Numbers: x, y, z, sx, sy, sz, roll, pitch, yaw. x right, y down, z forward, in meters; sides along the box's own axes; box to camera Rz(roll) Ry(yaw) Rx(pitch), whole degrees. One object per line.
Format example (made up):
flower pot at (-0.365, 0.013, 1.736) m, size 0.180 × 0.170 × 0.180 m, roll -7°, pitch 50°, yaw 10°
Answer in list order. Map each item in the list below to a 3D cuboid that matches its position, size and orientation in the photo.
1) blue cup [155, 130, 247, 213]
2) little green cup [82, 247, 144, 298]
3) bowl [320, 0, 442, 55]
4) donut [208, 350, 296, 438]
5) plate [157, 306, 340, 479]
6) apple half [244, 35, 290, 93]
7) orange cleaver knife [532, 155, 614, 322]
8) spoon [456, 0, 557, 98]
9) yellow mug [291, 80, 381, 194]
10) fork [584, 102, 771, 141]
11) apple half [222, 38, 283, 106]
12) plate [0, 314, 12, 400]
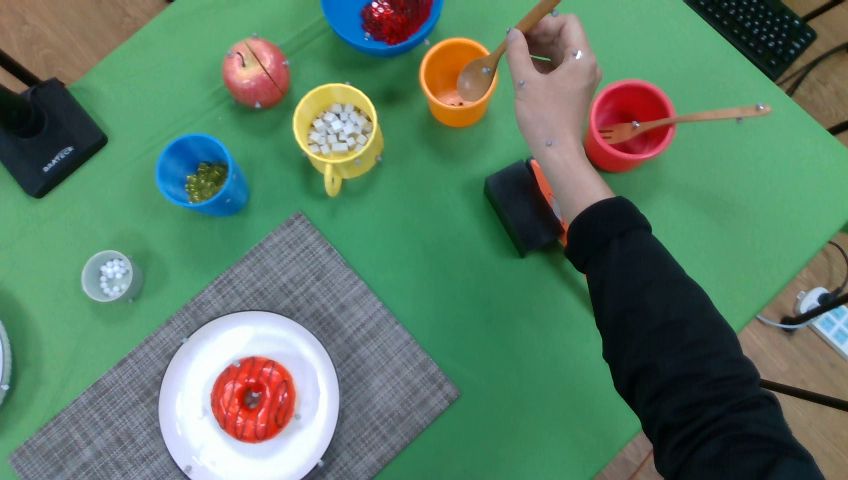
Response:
blue cup at (-0.253, -0.072, 0.717) m, size 0.092 × 0.100 × 0.092 m, roll 0°, pitch 80°, yaw 0°
little green cup at (-0.372, 0.042, 0.732) m, size 0.061 × 0.039 × 0.061 m, roll 0°, pitch 79°, yaw 3°
bowl at (-0.050, -0.293, 0.763) m, size 0.151 × 0.077 × 0.151 m, roll 0°, pitch 80°, yaw 2°
donut at (-0.194, 0.174, 0.686) m, size 0.099 × 0.048 × 0.098 m, roll 0°, pitch 81°, yaw 3°
plate at (-0.197, 0.180, 0.697) m, size 0.209 × 0.038 × 0.208 m, roll 0°, pitch 80°, yaw 2°
apple half at (-0.187, -0.224, 0.756) m, size 0.033 × 0.081 × 0.081 m, roll -36°, pitch 80°, yaw -4°
orange cleaver knife at (0.171, -0.001, 0.700) m, size 0.012 × 0.076 × 0.213 m, roll -27°, pitch 109°, yaw -1°
spoon at (0.078, -0.189, 0.582) m, size 0.022 × 0.193 × 0.041 m, roll -15°, pitch 84°, yaw -22°
yellow mug at (-0.107, -0.120, 0.739) m, size 0.100 × 0.064 × 0.130 m, roll 6°, pitch 81°, yaw 3°
fork at (0.279, -0.136, 0.689) m, size 0.206 × 0.019 × 0.028 m, roll -2°, pitch 62°, yaw 44°
apple half at (-0.219, -0.200, 0.754) m, size 0.053 × 0.075 × 0.080 m, roll -36°, pitch 83°, yaw -1°
plate at (-0.587, 0.150, 0.718) m, size 0.207 × 0.039 × 0.206 m, roll 0°, pitch 79°, yaw 2°
